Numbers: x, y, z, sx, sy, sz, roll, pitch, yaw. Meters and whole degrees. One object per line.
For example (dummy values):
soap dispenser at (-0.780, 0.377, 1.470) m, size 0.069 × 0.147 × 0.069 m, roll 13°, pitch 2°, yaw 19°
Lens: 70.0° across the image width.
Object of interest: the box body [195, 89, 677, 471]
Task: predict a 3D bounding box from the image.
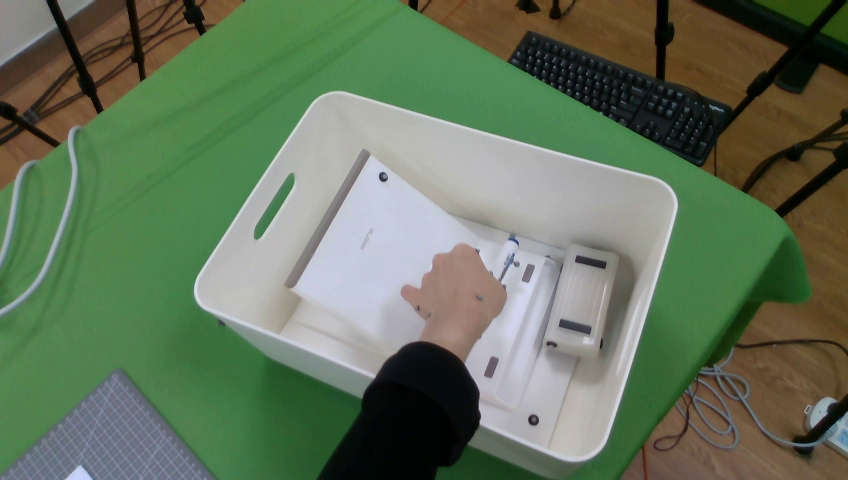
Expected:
box body at (0.017, 0.036, 0.587) m, size 0.362 × 0.162 × 0.253 m, roll 18°, pitch 65°, yaw 16°

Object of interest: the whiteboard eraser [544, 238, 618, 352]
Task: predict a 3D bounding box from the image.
whiteboard eraser at (0.159, 0.055, 0.612) m, size 0.055 × 0.042 × 0.112 m, roll 10°, pitch 65°, yaw 20°

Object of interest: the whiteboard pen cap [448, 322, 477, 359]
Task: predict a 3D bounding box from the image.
whiteboard pen cap at (0.037, 0.091, 0.555) m, size 0.018 × 0.018 × 0.033 m, roll 23°, pitch 58°, yaw 19°

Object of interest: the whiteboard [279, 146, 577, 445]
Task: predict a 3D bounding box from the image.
whiteboard at (0.010, 0.034, 0.601) m, size 0.304 × 0.145 × 0.216 m, roll 18°, pitch 64°, yaw 17°

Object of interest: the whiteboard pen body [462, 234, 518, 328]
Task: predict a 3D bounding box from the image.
whiteboard pen body at (0.061, 0.049, 0.586) m, size 0.017 × 0.017 × 0.140 m, roll 20°, pitch 58°, yaw 17°
